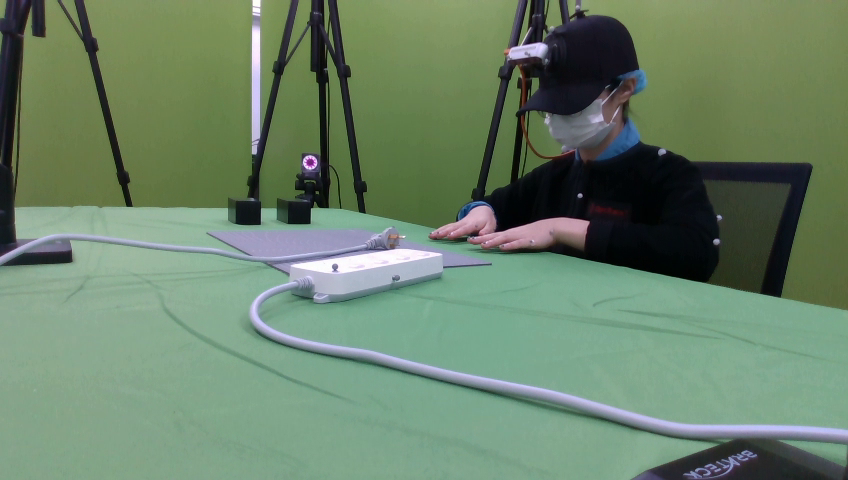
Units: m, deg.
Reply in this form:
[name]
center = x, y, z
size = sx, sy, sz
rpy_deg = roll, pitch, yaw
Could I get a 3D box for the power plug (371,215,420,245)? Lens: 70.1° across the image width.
[power plug]
center = -0.050, -0.023, 0.960
size = 0.053, 0.072, 0.035
rpy_deg = 37, -4, -36

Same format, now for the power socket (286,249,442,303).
[power socket]
center = -0.059, 0.035, 0.688
size = 0.072, 0.032, 0.228
rpy_deg = 6, 8, 33
